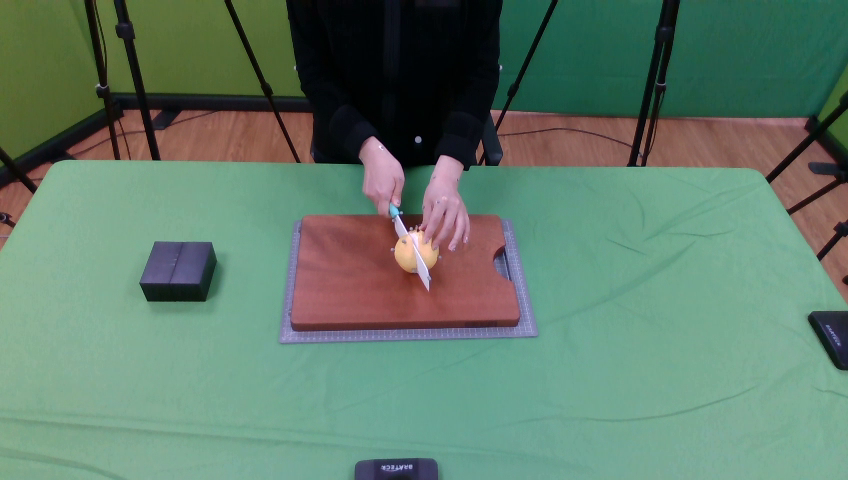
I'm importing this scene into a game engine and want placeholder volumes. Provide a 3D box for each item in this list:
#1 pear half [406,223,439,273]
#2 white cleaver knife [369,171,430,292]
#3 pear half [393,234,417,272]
[{"bbox_3d":[-0.001,0.006,1.092,0.056,0.110,0.076,-20,55,-22],"label":"pear half"},{"bbox_3d":[-0.048,-0.022,1.117,0.021,0.066,0.284,-17,52,-14],"label":"white cleaver knife"},{"bbox_3d":[-0.038,0.024,1.087,0.031,0.088,0.070,-25,56,-15],"label":"pear half"}]
